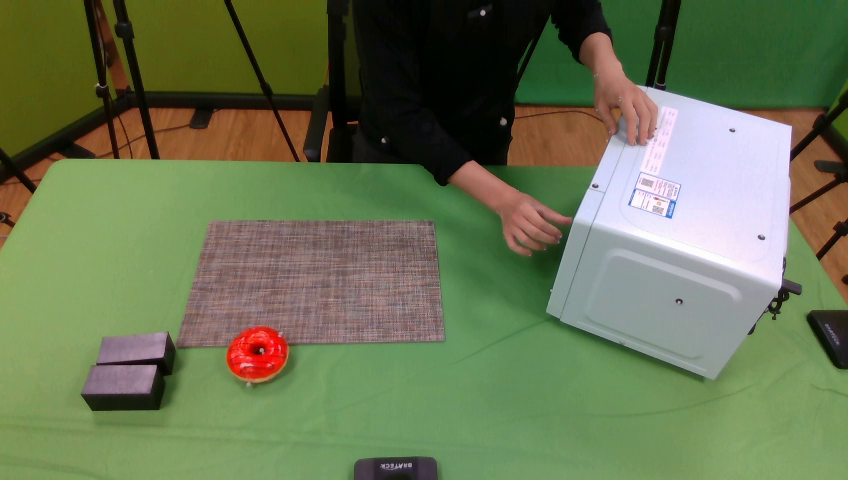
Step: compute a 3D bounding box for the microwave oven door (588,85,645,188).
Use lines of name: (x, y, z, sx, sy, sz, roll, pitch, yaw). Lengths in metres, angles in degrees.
microwave oven door: (0.342, -0.107, 1.149, 0.039, 0.245, 0.354, 21, 48, 15)

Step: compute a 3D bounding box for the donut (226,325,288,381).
donut: (-0.270, 0.182, 0.984, 0.099, 0.048, 0.098, 5, 49, -5)

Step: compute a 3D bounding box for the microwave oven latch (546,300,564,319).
microwave oven latch: (0.242, 0.102, 1.081, 0.030, 0.029, 0.079, 22, 48, 17)

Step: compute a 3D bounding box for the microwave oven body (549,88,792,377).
microwave oven body: (0.456, -0.028, 1.088, 0.325, 0.261, 0.440, 20, 47, 16)
